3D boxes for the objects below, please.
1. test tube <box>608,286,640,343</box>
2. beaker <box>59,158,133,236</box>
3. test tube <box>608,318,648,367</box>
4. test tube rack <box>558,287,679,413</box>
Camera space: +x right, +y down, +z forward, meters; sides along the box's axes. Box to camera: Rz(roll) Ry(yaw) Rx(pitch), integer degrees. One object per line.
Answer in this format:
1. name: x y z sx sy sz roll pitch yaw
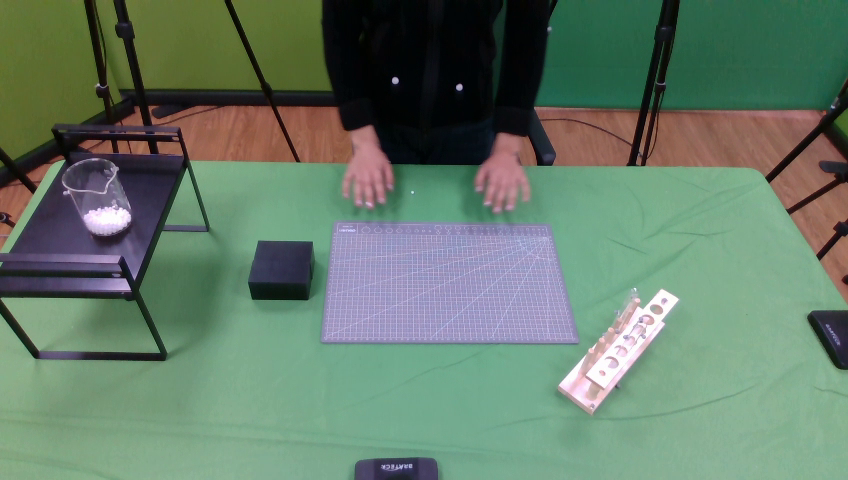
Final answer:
1. test tube: 0.324 0.123 0.992 0.017 0.151 0.017 2 49 -2
2. beaker: -0.488 -0.060 0.915 0.074 0.101 0.083 -35 58 -31
3. test tube: 0.311 0.169 0.940 0.017 0.151 0.017 5 48 -5
4. test tube rack: 0.326 0.170 1.009 0.066 0.085 0.242 36 54 27
